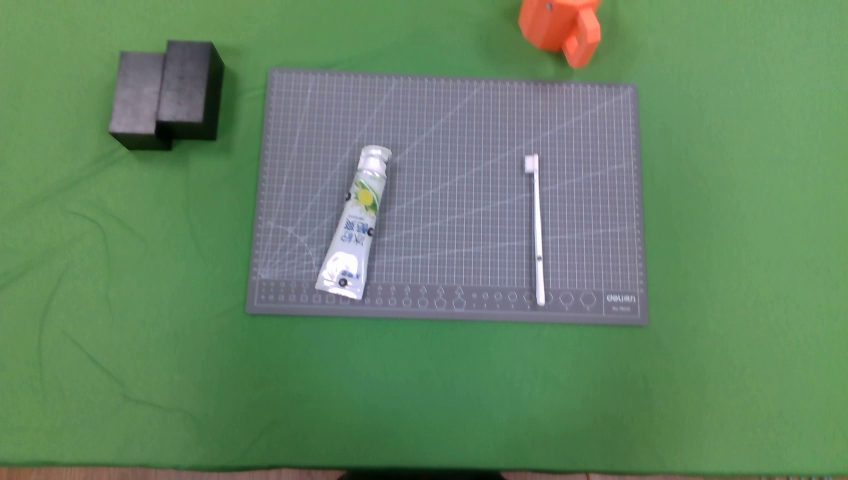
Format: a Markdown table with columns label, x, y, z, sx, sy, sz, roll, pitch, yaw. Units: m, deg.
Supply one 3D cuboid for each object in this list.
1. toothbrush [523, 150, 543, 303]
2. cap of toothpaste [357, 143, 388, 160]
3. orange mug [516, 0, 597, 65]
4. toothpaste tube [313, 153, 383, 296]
| label | x | y | z | sx | sy | sz | roll | pitch | yaw |
| --- | --- | --- | --- | --- | --- | --- | --- | --- | --- |
| toothbrush | 0.126 | -0.017 | 0.697 | 0.016 | 0.014 | 0.181 | -1 | 77 | 2 |
| cap of toothpaste | -0.059 | -0.100 | 0.695 | 0.037 | 0.037 | 0.011 | 3 | 75 | -2 |
| orange mug | 0.166 | -0.277 | 0.716 | 0.083 | 0.101 | 0.125 | -19 | 74 | -6 |
| toothpaste tube | -0.080 | -0.022 | 0.683 | 0.055 | 0.034 | 0.164 | 12 | 81 | 7 |
